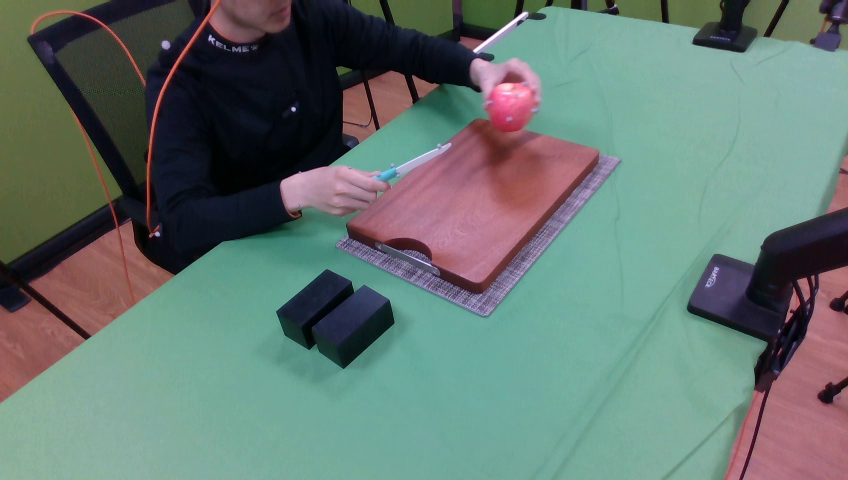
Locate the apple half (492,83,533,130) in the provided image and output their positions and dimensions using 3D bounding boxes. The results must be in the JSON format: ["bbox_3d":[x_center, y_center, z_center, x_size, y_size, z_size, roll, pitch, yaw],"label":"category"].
[{"bbox_3d":[0.151,-0.229,1.024,0.080,0.075,0.053,13,38,32],"label":"apple half"}]

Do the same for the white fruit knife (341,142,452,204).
[{"bbox_3d":[-0.046,-0.104,0.931,0.207,0.027,0.016,-25,66,20],"label":"white fruit knife"}]

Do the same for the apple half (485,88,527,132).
[{"bbox_3d":[0.130,-0.209,0.998,0.081,0.081,0.033,19,41,27],"label":"apple half"}]
